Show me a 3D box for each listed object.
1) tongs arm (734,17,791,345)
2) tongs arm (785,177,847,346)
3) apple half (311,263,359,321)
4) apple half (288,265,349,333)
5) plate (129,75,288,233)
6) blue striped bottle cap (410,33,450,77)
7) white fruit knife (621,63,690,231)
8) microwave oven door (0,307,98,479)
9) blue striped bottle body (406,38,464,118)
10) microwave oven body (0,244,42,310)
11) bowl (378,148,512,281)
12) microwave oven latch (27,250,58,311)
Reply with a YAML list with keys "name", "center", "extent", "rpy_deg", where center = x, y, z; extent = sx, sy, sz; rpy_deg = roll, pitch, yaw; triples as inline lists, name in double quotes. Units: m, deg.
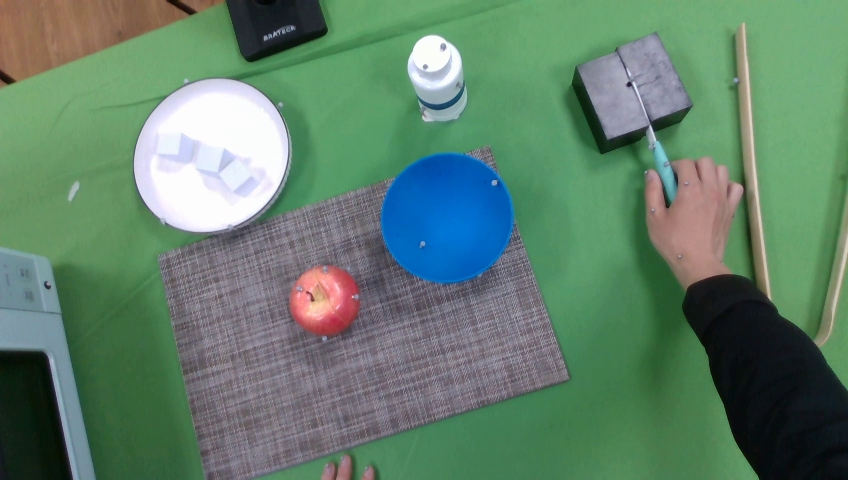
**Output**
- name: "tongs arm"
  center: [0.384, -0.074, 0.700]
  extent: [0.028, 0.028, 0.386]
  rpy_deg: [-1, 81, 4]
- name: "tongs arm"
  center: [0.464, -0.066, 0.685]
  extent: [0.050, 0.026, 0.383]
  rpy_deg: [11, 83, 10]
- name: "apple half"
  center: [-0.096, 0.055, 0.710]
  extent: [0.033, 0.081, 0.081]
  rpy_deg: [-33, 78, 3]
- name: "apple half"
  center: [-0.129, 0.076, 0.711]
  extent: [0.053, 0.075, 0.080]
  rpy_deg: [-33, 81, 4]
- name: "plate"
  center: [-0.274, -0.108, 0.782]
  extent: [0.207, 0.039, 0.207]
  rpy_deg: [-1, 80, 6]
- name: "blue striped bottle cap"
  center: [0.006, -0.205, 0.669]
  extent: [0.044, 0.021, 0.044]
  rpy_deg: [-1, 79, 5]
- name: "white fruit knife"
  center: [0.265, -0.108, 0.700]
  extent: [0.016, 0.027, 0.207]
  rpy_deg: [-21, 89, 2]
- name: "microwave oven door"
  center: [-0.433, 0.238, 0.620]
  extent: [0.039, 0.245, 0.354]
  rpy_deg: [-20, 78, 3]
- name: "blue striped bottle body"
  center: [0.014, -0.196, 0.719]
  extent: [0.063, 0.121, 0.063]
  rpy_deg: [-1, 80, 7]
- name: "microwave oven body"
  center: [-0.584, 0.249, 0.642]
  extent: [0.326, 0.261, 0.439]
  rpy_deg: [-20, 79, 3]
- name: "bowl"
  center: [0.027, -0.023, 0.706]
  extent: [0.151, 0.077, 0.151]
  rpy_deg: [-1, 80, 7]
- name: "microwave oven latch"
  center: [-0.488, 0.054, 0.762]
  extent: [0.030, 0.029, 0.079]
  rpy_deg: [-20, 79, 3]
